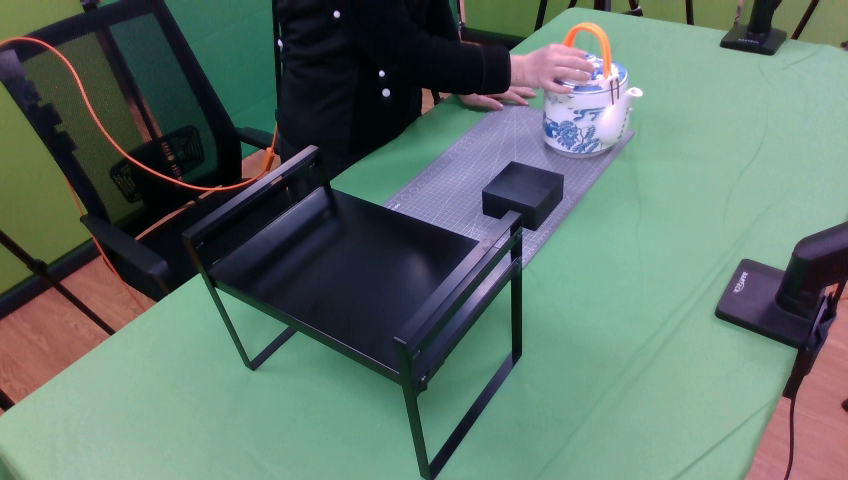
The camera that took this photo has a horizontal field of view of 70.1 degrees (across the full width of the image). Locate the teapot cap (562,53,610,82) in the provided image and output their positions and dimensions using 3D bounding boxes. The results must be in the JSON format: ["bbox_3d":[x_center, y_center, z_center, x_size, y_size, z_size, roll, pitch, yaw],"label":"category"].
[{"bbox_3d":[0.287,-0.305,1.065,0.085,0.044,0.084,-1,43,1],"label":"teapot cap"}]

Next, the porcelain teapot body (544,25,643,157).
[{"bbox_3d":[0.306,-0.258,1.070,0.146,0.226,0.203,-26,44,-20],"label":"porcelain teapot body"}]
